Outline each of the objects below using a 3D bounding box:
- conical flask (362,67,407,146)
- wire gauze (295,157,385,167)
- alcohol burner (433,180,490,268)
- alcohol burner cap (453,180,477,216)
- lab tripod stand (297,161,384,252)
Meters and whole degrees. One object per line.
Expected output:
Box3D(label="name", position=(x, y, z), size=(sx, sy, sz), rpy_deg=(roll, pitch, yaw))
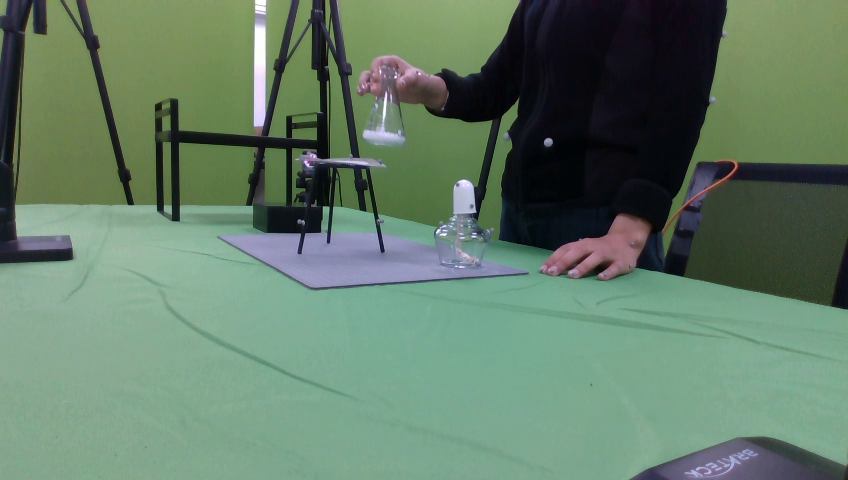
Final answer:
Box3D(label="conical flask", position=(-0.061, -0.216, 0.988), size=(0.075, 0.122, 0.075), rpy_deg=(5, 5, 0))
Box3D(label="wire gauze", position=(-0.128, -0.118, 0.901), size=(0.125, 0.011, 0.121), rpy_deg=(0, 8, -14))
Box3D(label="alcohol burner", position=(0.052, -0.021, 0.815), size=(0.078, 0.119, 0.078), rpy_deg=(4, 7, 0))
Box3D(label="alcohol burner cap", position=(0.054, -0.057, 0.811), size=(0.034, 0.048, 0.034), rpy_deg=(-3, 6, 1))
Box3D(label="lab tripod stand", position=(-0.130, -0.051, 0.903), size=(0.148, 0.131, 0.148), rpy_deg=(4, 9, 0))
